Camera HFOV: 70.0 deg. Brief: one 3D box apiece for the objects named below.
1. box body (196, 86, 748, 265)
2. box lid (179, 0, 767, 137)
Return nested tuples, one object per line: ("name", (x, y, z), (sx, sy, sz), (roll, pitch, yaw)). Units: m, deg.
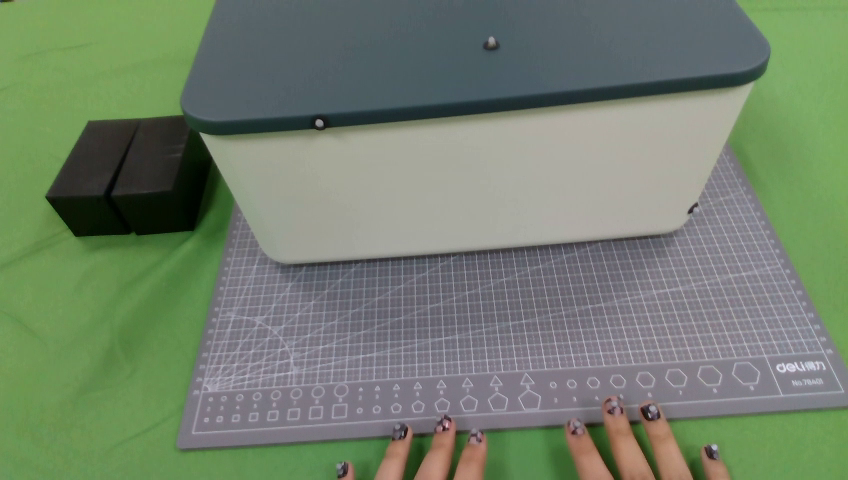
("box body", (0.030, -0.126, 0.503), (0.364, 0.162, 0.251), (-5, 50, 1))
("box lid", (0.022, -0.175, 0.446), (0.371, 0.015, 0.260), (-5, 49, 1))
